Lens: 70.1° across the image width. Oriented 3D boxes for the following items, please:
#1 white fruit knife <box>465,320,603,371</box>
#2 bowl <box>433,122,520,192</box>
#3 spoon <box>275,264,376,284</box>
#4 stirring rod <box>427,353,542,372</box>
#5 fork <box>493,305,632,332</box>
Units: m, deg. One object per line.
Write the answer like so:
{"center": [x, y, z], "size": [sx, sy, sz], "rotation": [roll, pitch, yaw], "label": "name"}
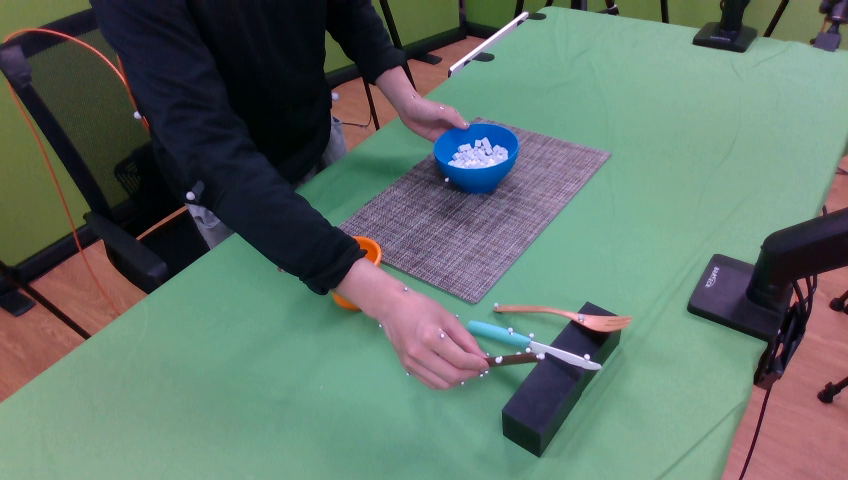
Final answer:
{"center": [0.128, 0.129, 0.749], "size": [0.205, 0.027, 0.016], "rotation": [10, 44, 44], "label": "white fruit knife"}
{"center": [0.094, -0.137, 1.064], "size": [0.151, 0.077, 0.150], "rotation": [-4, 40, 4], "label": "bowl"}
{"center": [-0.133, 0.044, 0.840], "size": [0.041, 0.195, 0.021], "rotation": [25, 95, 33], "label": "spoon"}
{"center": [0.063, 0.140, 0.684], "size": [0.175, 0.014, 0.006], "rotation": [-20, 42, 47], "label": "stirring rod"}
{"center": [0.171, 0.097, 0.782], "size": [0.205, 0.019, 0.028], "rotation": [4, 41, 43], "label": "fork"}
